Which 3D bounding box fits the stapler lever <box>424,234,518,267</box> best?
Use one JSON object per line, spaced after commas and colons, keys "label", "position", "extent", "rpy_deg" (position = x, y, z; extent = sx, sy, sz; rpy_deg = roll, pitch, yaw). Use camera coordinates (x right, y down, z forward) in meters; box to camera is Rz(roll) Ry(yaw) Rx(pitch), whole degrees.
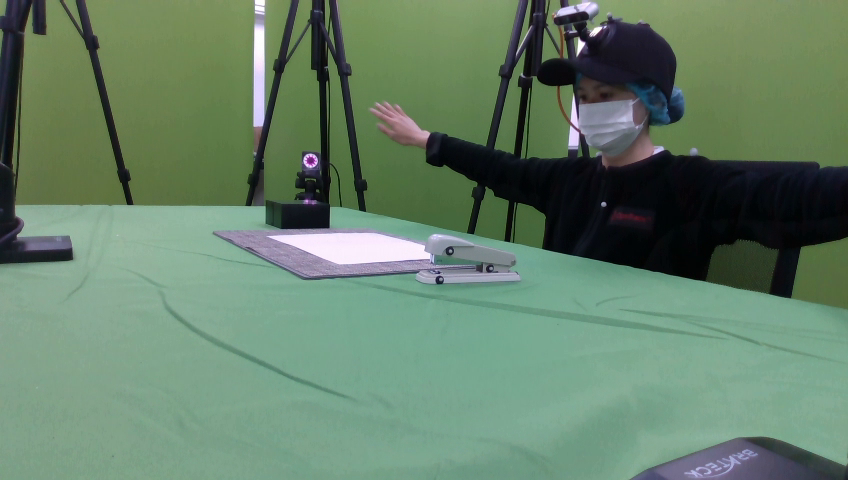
{"label": "stapler lever", "position": [0.057, 0.014, 0.731], "extent": [0.118, 0.040, 0.026], "rpy_deg": [1, 8, -22]}

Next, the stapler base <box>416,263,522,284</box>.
{"label": "stapler base", "position": [0.055, 0.038, 0.733], "extent": [0.131, 0.024, 0.041], "rpy_deg": [1, 8, -23]}
